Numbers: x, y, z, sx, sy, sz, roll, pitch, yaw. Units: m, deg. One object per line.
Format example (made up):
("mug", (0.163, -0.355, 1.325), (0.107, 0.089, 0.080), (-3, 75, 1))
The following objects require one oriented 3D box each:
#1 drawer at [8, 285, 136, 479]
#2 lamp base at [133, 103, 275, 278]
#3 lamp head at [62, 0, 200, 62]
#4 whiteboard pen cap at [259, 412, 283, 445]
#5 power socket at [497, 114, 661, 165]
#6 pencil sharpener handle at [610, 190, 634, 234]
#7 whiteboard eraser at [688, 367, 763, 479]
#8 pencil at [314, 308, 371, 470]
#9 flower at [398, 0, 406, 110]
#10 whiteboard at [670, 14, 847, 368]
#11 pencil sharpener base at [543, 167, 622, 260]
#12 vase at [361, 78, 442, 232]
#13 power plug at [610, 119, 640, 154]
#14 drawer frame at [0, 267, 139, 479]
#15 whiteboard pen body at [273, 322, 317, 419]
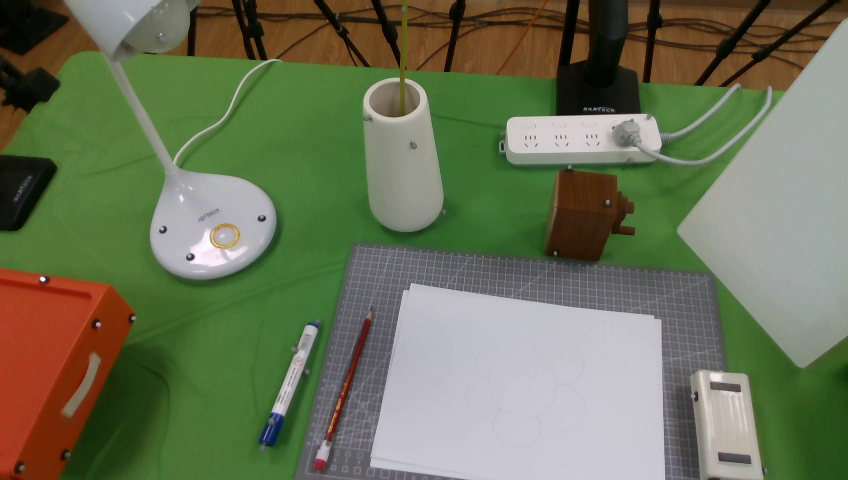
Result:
("drawer", (-0.438, 0.129, 0.615), (0.211, 0.074, 0.193), (7, 58, 7))
("lamp base", (-0.289, -0.069, 0.735), (0.177, 0.182, 0.160), (34, 63, 26))
("lamp head", (-0.253, -0.222, 0.487), (0.123, 0.112, 0.112), (46, 62, -14))
("whiteboard pen cap", (-0.161, 0.198, 0.641), (0.018, 0.018, 0.033), (9, 51, 9))
("power socket", (0.218, -0.141, 0.851), (0.227, 0.033, 0.071), (0, 57, 2))
("pencil sharpener handle", (0.239, -0.030, 0.716), (0.030, 0.068, 0.035), (7, 55, 7))
("whiteboard eraser", (0.305, 0.188, 0.618), (0.055, 0.042, 0.111), (6, 57, 5))
("pencil", (-0.086, 0.158, 0.675), (0.012, 0.012, 0.192), (10, 56, 10))
("flower", (-0.024, -0.157, 0.673), (0.038, 0.365, 0.043), (-4, 38, -9))
("whiteboard", (0.462, -0.046, 0.650), (0.144, 0.307, 0.215), (-12, 54, -28))
("pencil sharpener base", (0.189, -0.029, 0.733), (0.076, 0.108, 0.061), (7, 56, 7))
("vase", (-0.030, -0.097, 0.732), (0.098, 0.202, 0.097), (-2, 55, 3))
("power plug", (0.267, -0.131, 0.814), (0.035, 0.053, 0.072), (8, 58, 9))
("drawer frame", (-0.444, 0.131, 0.617), (0.213, 0.083, 0.200), (8, 58, 5))
("whiteboard pen body", (-0.147, 0.153, 0.675), (0.017, 0.017, 0.139), (9, 53, 9))
